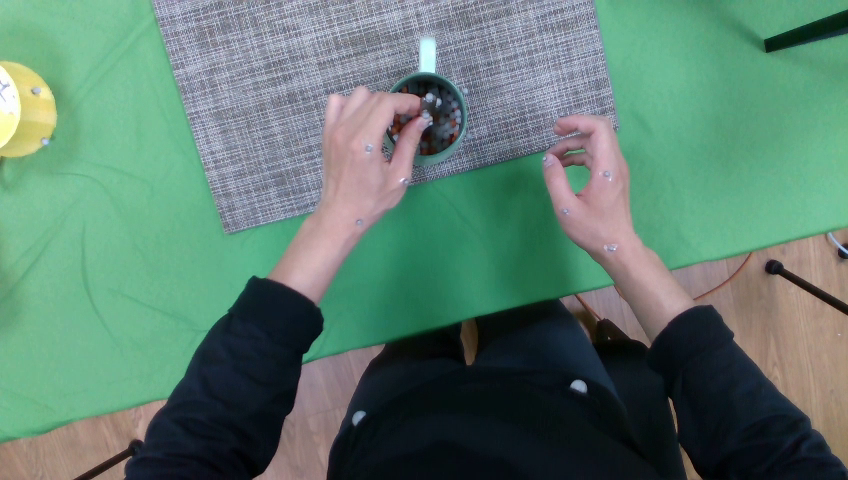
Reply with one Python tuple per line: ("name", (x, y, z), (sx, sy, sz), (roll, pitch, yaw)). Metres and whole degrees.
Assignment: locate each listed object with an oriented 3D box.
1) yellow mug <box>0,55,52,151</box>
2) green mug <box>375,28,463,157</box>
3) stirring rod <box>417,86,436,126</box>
("yellow mug", (-0.448, -0.125, 0.611), (0.100, 0.064, 0.131), (17, 98, -6))
("green mug", (-0.004, -0.146, 0.606), (0.092, 0.104, 0.125), (1, 98, -2))
("stirring rod", (0.001, -0.120, 0.555), (0.014, 0.176, 0.006), (-14, 93, 0))
